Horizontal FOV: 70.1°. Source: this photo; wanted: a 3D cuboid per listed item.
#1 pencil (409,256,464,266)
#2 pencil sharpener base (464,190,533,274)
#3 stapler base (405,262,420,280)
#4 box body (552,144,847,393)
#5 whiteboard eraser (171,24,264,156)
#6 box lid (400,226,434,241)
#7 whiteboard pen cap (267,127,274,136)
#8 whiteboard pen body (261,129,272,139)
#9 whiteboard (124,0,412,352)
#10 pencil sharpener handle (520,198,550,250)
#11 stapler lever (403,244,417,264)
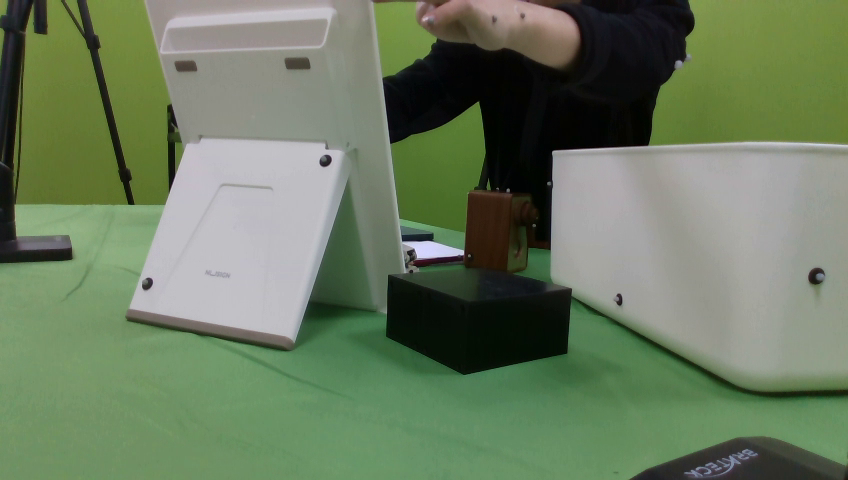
[{"bbox_3d":[0.041,0.028,0.850,0.195,0.012,0.012,-4,10,-44],"label":"pencil"},{"bbox_3d":[0.103,-0.012,0.812,0.076,0.107,0.061,8,9,36],"label":"pencil sharpener base"},{"bbox_3d":[-0.069,0.027,0.759,0.130,0.024,0.041,9,13,23],"label":"stapler base"},{"bbox_3d":[0.290,0.002,0.549,0.255,0.160,0.363,2,7,-10],"label":"box body"},{"bbox_3d":[-0.193,-0.135,0.553,0.055,0.112,0.042,35,34,-2],"label":"whiteboard eraser"},{"bbox_3d":[-0.196,-0.015,1.105,0.373,0.015,0.262,-1,7,-32],"label":"box lid"},{"bbox_3d":[-0.340,-0.239,1.337,0.018,0.018,0.033,1,-1,-14],"label":"whiteboard pen cap"},{"bbox_3d":[-0.361,-0.245,1.393,0.017,0.017,0.140,0,5,-20],"label":"whiteboard pen body"},{"bbox_3d":[-0.151,-0.050,0.471,0.216,0.305,0.144,6,27,24],"label":"whiteboard"},{"bbox_3d":[0.147,-0.020,0.785,0.030,0.068,0.036,8,25,36],"label":"pencil sharpener handle"},{"bbox_3d":[-0.066,0.003,0.755,0.117,0.040,0.027,9,13,23],"label":"stapler lever"}]
